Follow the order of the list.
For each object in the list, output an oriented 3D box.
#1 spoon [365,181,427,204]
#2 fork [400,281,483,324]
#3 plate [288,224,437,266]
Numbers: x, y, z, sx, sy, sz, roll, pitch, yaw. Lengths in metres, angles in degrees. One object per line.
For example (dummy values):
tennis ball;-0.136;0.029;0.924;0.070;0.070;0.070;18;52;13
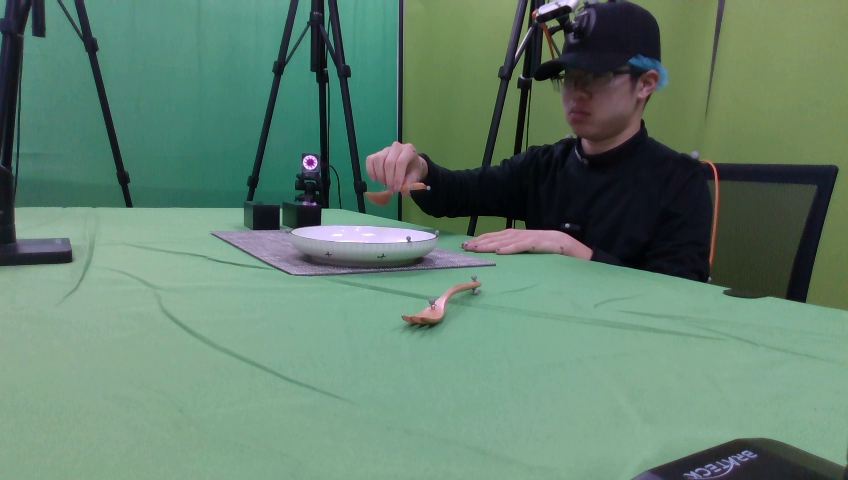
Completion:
spoon;-0.047;-0.081;0.981;0.042;0.021;0.193;33;-21;-23
fork;0.025;0.057;0.590;0.028;0.018;0.208;-2;7;21
plate;-0.086;0.007;0.852;0.208;0.039;0.207;3;7;0
